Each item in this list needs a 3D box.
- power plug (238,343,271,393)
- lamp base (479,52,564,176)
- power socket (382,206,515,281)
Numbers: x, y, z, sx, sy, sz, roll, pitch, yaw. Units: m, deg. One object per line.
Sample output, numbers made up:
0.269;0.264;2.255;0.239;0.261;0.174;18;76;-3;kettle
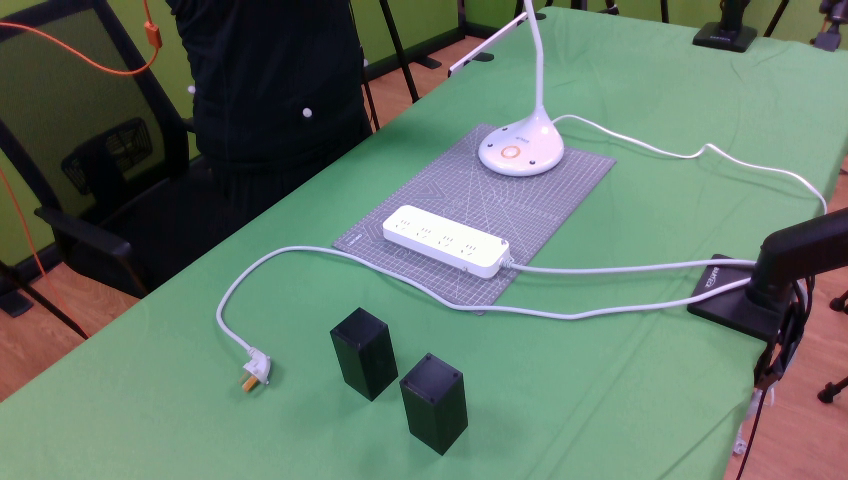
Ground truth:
-0.230;0.172;0.801;0.072;0.035;0.053;9;51;50;power plug
0.181;-0.235;1.094;0.159;0.181;0.179;18;44;27;lamp base
0.032;0.002;0.950;0.225;0.033;0.072;21;49;29;power socket
